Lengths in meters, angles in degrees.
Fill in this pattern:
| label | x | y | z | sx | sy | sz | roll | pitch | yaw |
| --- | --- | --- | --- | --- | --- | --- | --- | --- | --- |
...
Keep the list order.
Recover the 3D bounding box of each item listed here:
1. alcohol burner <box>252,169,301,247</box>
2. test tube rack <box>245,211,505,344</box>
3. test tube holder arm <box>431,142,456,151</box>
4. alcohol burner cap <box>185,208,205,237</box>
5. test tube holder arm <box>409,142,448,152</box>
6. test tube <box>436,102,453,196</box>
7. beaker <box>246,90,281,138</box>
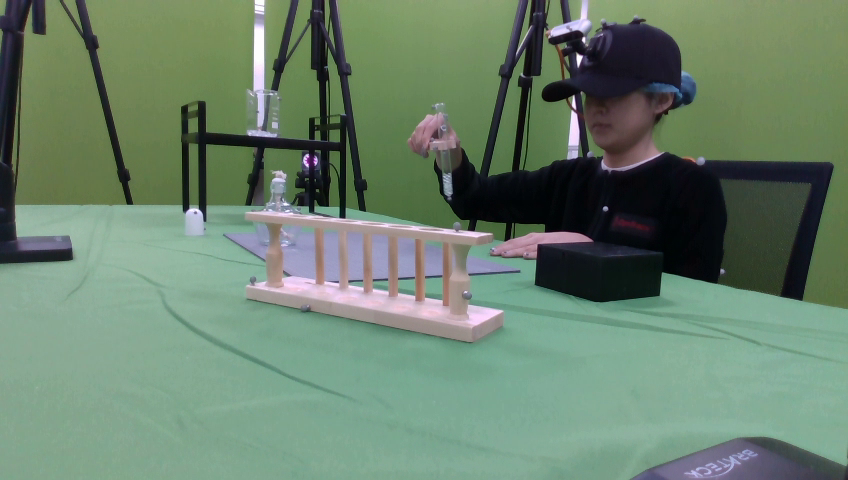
| label | x | y | z | sx | sy | sz | roll | pitch | yaw |
| --- | --- | --- | --- | --- | --- | --- | --- | --- | --- |
| alcohol burner | -0.227 | -0.050 | 0.936 | 0.078 | 0.119 | 0.078 | 1 | 7 | 0 |
| test tube rack | -0.049 | 0.025 | 0.547 | 0.241 | 0.085 | 0.067 | 7 | 8 | 29 |
| test tube holder arm | 0.027 | -0.154 | 0.996 | 0.010 | 0.015 | 0.087 | -1 | 7 | -27 |
| alcohol burner cap | -0.391 | -0.031 | 1.032 | 0.034 | 0.048 | 0.034 | 3 | 8 | 0 |
| test tube holder arm | 0.005 | -0.159 | 1.035 | 0.013 | 0.015 | 0.177 | 0 | 7 | -21 |
| test tube | 0.033 | -0.145 | 0.974 | 0.017 | 0.150 | 0.017 | -5 | 9 | 1 |
| beaker | -0.354 | -0.275 | 1.322 | 0.074 | 0.100 | 0.084 | 4 | 8 | 12 |
